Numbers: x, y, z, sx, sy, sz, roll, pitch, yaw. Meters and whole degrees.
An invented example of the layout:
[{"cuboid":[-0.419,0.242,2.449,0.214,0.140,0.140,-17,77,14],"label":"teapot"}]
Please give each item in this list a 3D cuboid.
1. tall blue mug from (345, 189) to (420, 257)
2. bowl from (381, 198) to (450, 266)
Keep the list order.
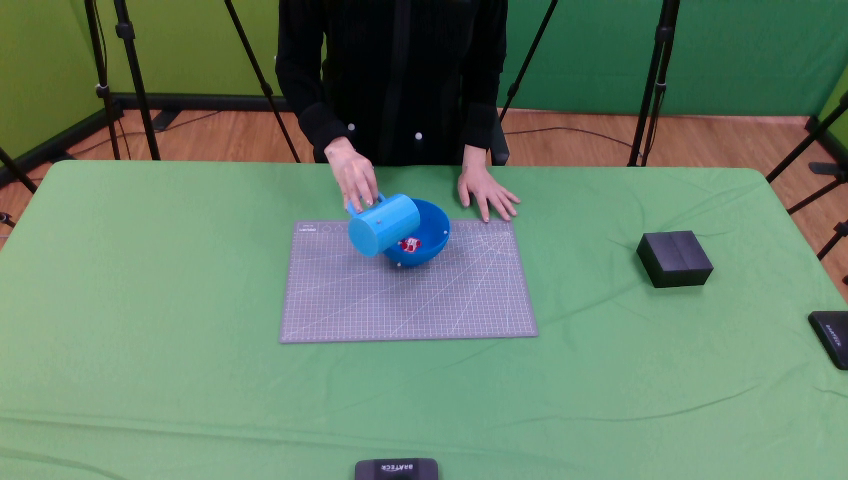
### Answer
[{"cuboid":[-0.078,-0.041,1.057,0.108,0.107,0.077,-33,13,-38],"label":"tall blue mug"},{"cuboid":[-0.028,-0.003,1.156,0.151,0.077,0.150,2,46,-2],"label":"bowl"}]
